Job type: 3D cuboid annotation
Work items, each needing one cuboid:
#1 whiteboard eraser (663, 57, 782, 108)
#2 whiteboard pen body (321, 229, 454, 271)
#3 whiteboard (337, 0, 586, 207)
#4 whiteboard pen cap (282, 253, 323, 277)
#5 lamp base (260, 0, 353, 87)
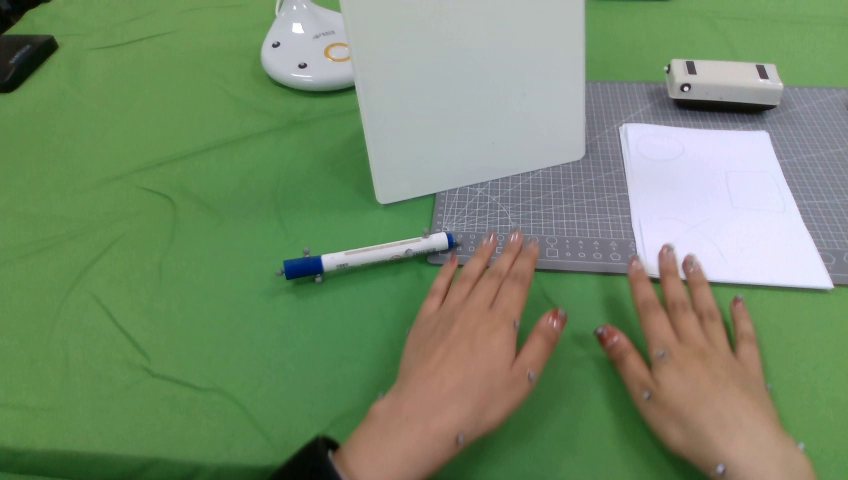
[{"bbox_3d":[0.321,-0.171,0.658,0.112,0.042,0.055,6,48,8],"label":"whiteboard eraser"},{"bbox_3d":[-0.043,0.010,0.517,0.141,0.017,0.017,-11,47,-10],"label":"whiteboard pen body"},{"bbox_3d":[0.023,-0.219,0.578,0.217,0.308,0.142,-13,28,-9],"label":"whiteboard"},{"bbox_3d":[-0.101,0.021,0.507,0.033,0.018,0.018,-10,46,-12],"label":"whiteboard pen cap"},{"bbox_3d":[-0.135,-0.298,0.706,0.160,0.182,0.177,-35,52,-27],"label":"lamp base"}]
